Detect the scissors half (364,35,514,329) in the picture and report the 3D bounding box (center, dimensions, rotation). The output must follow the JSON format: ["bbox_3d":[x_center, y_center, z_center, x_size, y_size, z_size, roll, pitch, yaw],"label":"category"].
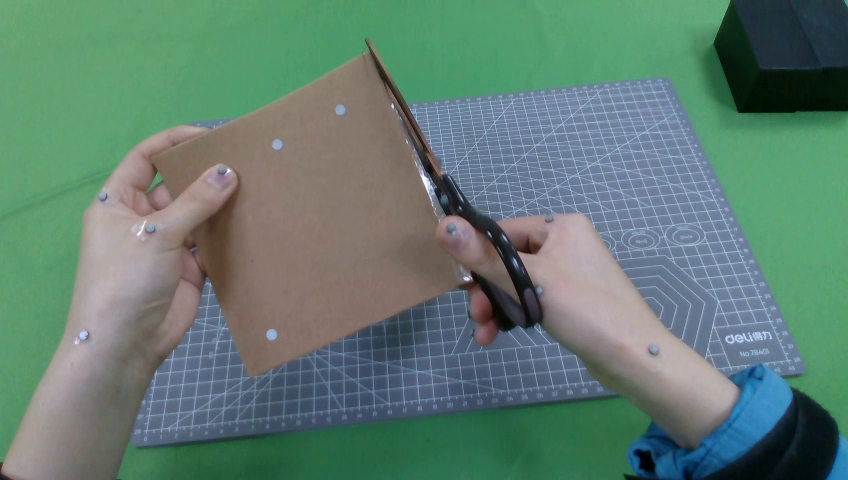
[{"bbox_3d":[0.008,-0.030,0.329,0.013,0.040,0.175,-27,98,-7],"label":"scissors half"}]

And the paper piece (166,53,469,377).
[{"bbox_3d":[-0.063,-0.013,0.328,0.138,0.009,0.135,-24,79,12],"label":"paper piece"}]

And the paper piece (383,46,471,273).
[{"bbox_3d":[0.002,-0.050,0.396,0.004,0.135,0.135,-21,96,2],"label":"paper piece"}]

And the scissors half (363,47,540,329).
[{"bbox_3d":[0.010,-0.034,0.307,0.013,0.040,0.174,-27,71,-12],"label":"scissors half"}]
